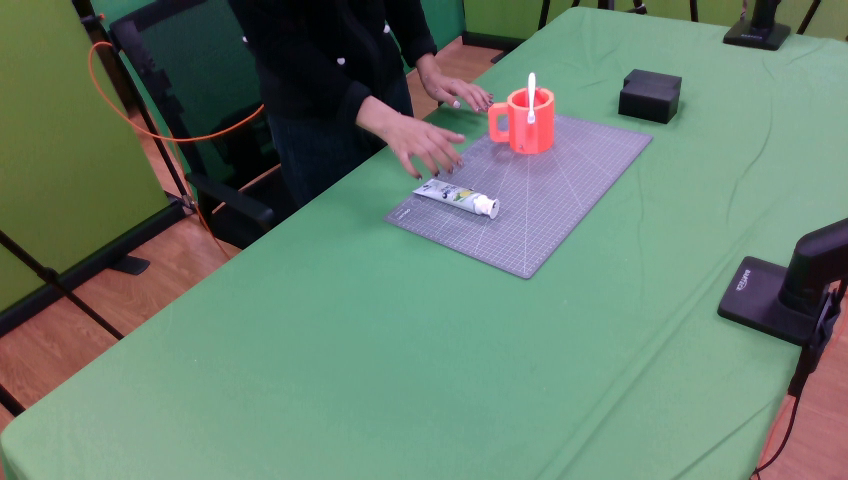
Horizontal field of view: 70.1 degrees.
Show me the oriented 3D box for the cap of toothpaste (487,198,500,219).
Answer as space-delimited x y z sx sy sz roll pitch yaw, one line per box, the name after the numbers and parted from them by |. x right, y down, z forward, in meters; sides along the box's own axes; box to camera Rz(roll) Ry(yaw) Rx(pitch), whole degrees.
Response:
0.115 -0.054 1.007 0.011 0.037 0.037 17 47 24 | cap of toothpaste

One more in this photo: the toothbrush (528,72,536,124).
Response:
0.198 -0.267 1.114 0.014 0.017 0.181 -4 40 13 | toothbrush

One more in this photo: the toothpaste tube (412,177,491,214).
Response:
0.056 -0.079 1.056 0.163 0.034 0.055 22 43 37 | toothpaste tube

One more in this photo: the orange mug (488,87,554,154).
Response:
0.185 -0.227 1.151 0.126 0.101 0.083 1 41 5 | orange mug
